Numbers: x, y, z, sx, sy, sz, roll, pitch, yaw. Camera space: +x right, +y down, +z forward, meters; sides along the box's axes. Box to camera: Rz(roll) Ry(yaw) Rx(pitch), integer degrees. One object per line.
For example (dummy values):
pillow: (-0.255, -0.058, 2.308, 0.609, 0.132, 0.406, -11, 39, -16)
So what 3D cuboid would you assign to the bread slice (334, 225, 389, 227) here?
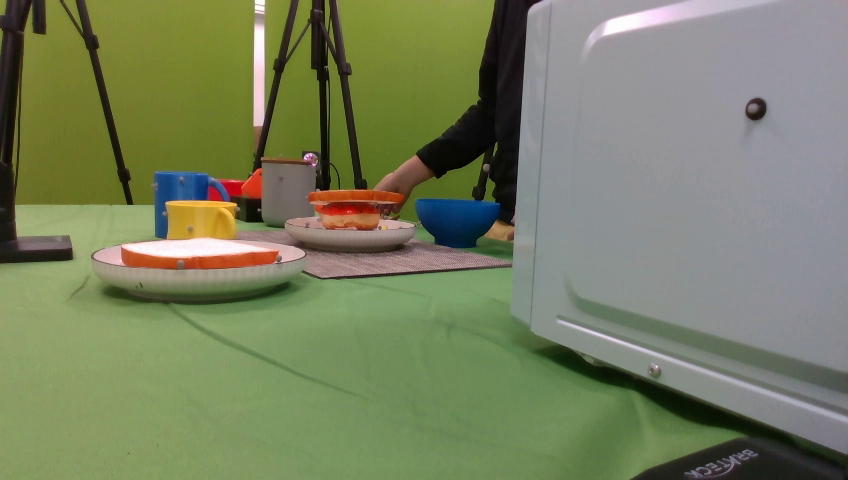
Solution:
bread slice: (-0.103, -0.010, 0.961, 0.131, 0.019, 0.105, 3, 8, 24)

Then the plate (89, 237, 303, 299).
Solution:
plate: (-0.233, 0.029, 0.637, 0.208, 0.039, 0.207, 2, 7, 0)

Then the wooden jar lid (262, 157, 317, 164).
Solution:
wooden jar lid: (-0.269, -0.154, 1.208, 0.108, 0.020, 0.108, 3, 4, 0)

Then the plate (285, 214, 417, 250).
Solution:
plate: (-0.116, -0.014, 0.964, 0.209, 0.038, 0.209, 2, 8, 0)

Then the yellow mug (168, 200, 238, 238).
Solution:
yellow mug: (-0.320, -0.023, 0.904, 0.130, 0.064, 0.100, 9, 10, 36)

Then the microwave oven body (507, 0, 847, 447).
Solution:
microwave oven body: (0.331, -0.042, 0.425, 0.444, 0.260, 0.324, -2, 8, -31)

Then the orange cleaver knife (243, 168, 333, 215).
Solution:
orange cleaver knife: (-0.300, -0.089, 1.351, 0.212, 0.077, 0.012, 28, -9, -34)

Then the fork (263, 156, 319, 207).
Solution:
fork: (-0.331, -0.144, 1.505, 0.207, 0.018, 0.028, -42, -21, 22)

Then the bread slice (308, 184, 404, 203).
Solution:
bread slice: (-0.114, -0.072, 0.953, 0.134, 0.018, 0.107, -3, -1, 21)

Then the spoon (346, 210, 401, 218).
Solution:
spoon: (-0.121, -0.060, 1.399, 0.042, 0.021, 0.192, -26, 24, -38)

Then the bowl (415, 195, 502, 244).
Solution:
bowl: (0.059, -0.035, 1.049, 0.151, 0.077, 0.151, 2, 7, 0)

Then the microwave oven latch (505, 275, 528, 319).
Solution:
microwave oven latch: (0.100, 0.042, 0.471, 0.079, 0.029, 0.030, -1, 7, -28)

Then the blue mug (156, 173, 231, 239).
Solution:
blue mug: (-0.381, -0.057, 1.004, 0.117, 0.106, 0.082, 1, 8, -12)

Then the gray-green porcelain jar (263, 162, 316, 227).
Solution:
gray-green porcelain jar: (-0.271, -0.092, 1.217, 0.106, 0.126, 0.106, 2, 7, 0)

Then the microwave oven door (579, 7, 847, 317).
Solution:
microwave oven door: (0.294, -0.067, 0.570, 0.358, 0.243, 0.039, -3, 9, -31)
